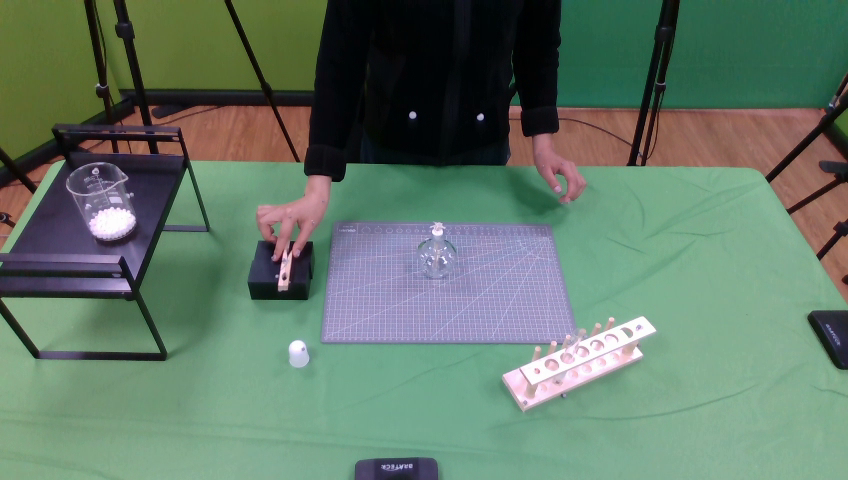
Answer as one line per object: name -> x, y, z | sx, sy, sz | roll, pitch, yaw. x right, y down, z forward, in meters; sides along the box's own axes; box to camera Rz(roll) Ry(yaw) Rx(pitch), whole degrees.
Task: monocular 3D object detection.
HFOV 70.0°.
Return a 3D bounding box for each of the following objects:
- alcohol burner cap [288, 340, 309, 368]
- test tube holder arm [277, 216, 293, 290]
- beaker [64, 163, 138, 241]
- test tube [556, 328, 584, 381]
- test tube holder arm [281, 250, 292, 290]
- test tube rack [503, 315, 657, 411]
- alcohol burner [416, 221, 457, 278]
alcohol burner cap -> -0.207, 0.183, 0.991 | 0.034, 0.048, 0.033 | 3, 47, -3
test tube holder arm -> -0.250, 0.019, 1.094 | 0.013, 0.015, 0.177 | 9, 43, -15
beaker -> -0.477, -0.055, 0.910 | 0.084, 0.101, 0.073 | -9, 48, -13
test tube -> 0.221, 0.178, 0.926 | 0.017, 0.151, 0.017 | 0, 51, 0
test tube holder arm -> -0.241, 0.051, 1.064 | 0.010, 0.015, 0.087 | 10, 42, -14
test tube rack -> 0.253, 0.186, 0.989 | 0.242, 0.085, 0.066 | -18, 50, -20
alcohol burner -> 0.024, 0.013, 1.116 | 0.078, 0.120, 0.077 | 1, 45, -1
